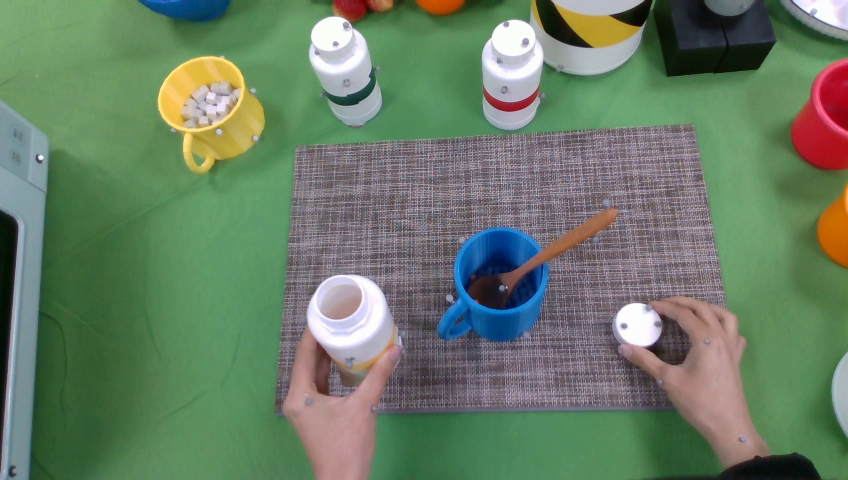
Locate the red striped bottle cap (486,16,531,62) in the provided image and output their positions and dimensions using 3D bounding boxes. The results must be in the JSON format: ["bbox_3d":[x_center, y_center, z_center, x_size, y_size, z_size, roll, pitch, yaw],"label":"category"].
[{"bbox_3d":[0.084,-0.199,0.597,0.044,0.018,0.044,0,68,1],"label":"red striped bottle cap"}]

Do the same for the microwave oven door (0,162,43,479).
[{"bbox_3d":[-0.435,0.064,0.525,0.039,0.245,0.353,-11,69,2],"label":"microwave oven door"}]

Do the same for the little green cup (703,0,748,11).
[{"bbox_3d":[0.328,-0.278,0.648,0.061,0.039,0.061,-1,68,3],"label":"little green cup"}]

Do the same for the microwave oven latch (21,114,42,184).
[{"bbox_3d":[-0.461,-0.102,0.696,0.030,0.030,0.078,-10,70,2],"label":"microwave oven latch"}]

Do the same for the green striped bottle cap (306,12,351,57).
[{"bbox_3d":[-0.098,-0.210,0.620,0.044,0.020,0.044,-1,70,2],"label":"green striped bottle cap"}]

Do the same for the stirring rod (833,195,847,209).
[{"bbox_3d":[0.420,-0.005,0.542,0.014,0.006,0.175,0,27,3],"label":"stirring rod"}]

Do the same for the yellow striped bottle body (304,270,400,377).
[{"bbox_3d":[-0.059,0.067,0.498,0.063,0.121,0.062,-3,62,5],"label":"yellow striped bottle body"}]

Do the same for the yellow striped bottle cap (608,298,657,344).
[{"bbox_3d":[0.204,0.079,0.593,0.044,0.019,0.044,-2,69,6],"label":"yellow striped bottle cap"}]

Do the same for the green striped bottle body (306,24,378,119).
[{"bbox_3d":[-0.091,-0.191,0.668,0.063,0.120,0.063,-2,69,5],"label":"green striped bottle body"}]

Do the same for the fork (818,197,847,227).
[{"bbox_3d":[0.450,-0.005,0.531,0.028,0.019,0.205,-40,27,-8],"label":"fork"}]

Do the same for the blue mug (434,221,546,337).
[{"bbox_3d":[0.056,0.050,0.570,0.116,0.106,0.082,-38,70,-8],"label":"blue mug"}]

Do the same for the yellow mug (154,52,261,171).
[{"bbox_3d":[-0.251,-0.141,0.695,0.100,0.064,0.130,7,71,8],"label":"yellow mug"}]

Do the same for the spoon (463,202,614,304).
[{"bbox_3d":[0.092,0.019,0.531,0.022,0.194,0.041,-2,65,-33],"label":"spoon"}]

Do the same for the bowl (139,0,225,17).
[{"bbox_3d":[-0.299,-0.338,0.765,0.151,0.077,0.150,-2,70,5],"label":"bowl"}]

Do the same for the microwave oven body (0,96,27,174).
[{"bbox_3d":[-0.585,0.055,0.548,0.326,0.262,0.438,-11,70,1],"label":"microwave oven body"}]

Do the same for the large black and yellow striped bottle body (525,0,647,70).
[{"bbox_3d":[0.177,-0.285,0.642,0.130,0.185,0.130,-2,70,5],"label":"large black and yellow striped bottle body"}]

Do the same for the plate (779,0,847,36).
[{"bbox_3d":[0.496,-0.316,0.700,0.209,0.038,0.207,-2,70,5],"label":"plate"}]

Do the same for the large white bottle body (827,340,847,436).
[{"bbox_3d":[0.426,0.113,0.471,0.130,0.186,0.129,-2,69,5],"label":"large white bottle body"}]

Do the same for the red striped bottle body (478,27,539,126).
[{"bbox_3d":[0.090,-0.179,0.646,0.063,0.120,0.062,-3,68,7],"label":"red striped bottle body"}]
